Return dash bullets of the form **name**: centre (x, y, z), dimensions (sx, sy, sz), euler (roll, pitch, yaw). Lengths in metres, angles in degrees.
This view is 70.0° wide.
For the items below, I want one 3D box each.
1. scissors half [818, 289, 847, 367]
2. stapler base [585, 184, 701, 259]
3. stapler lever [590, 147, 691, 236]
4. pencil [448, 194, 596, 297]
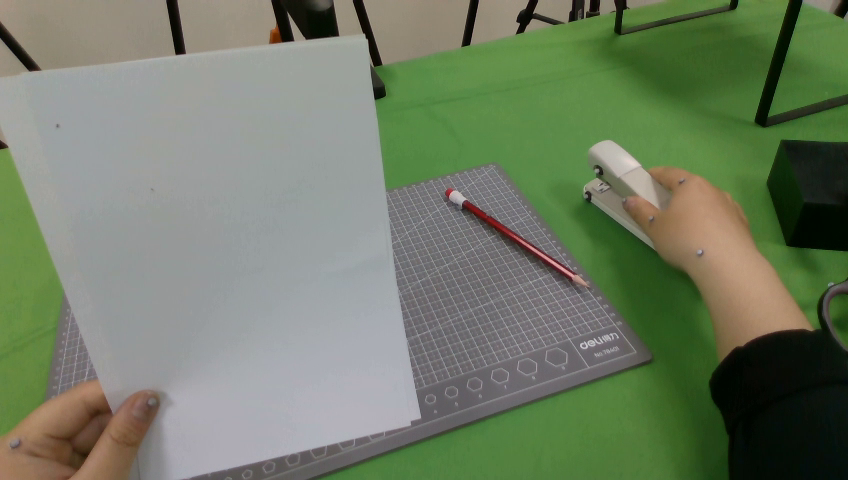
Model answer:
- **scissors half**: centre (0.341, 0.018, 0.478), dimensions (0.040, 0.013, 0.174), euler (11, 65, 27)
- **stapler base**: centre (0.199, -0.029, 0.569), dimensions (0.041, 0.025, 0.129), euler (-27, 37, -7)
- **stapler lever**: centre (0.194, -0.048, 0.553), dimensions (0.027, 0.040, 0.116), euler (-27, 37, -7)
- **pencil**: centre (0.085, 0.001, 0.568), dimensions (0.012, 0.012, 0.192), euler (-29, 46, -25)
